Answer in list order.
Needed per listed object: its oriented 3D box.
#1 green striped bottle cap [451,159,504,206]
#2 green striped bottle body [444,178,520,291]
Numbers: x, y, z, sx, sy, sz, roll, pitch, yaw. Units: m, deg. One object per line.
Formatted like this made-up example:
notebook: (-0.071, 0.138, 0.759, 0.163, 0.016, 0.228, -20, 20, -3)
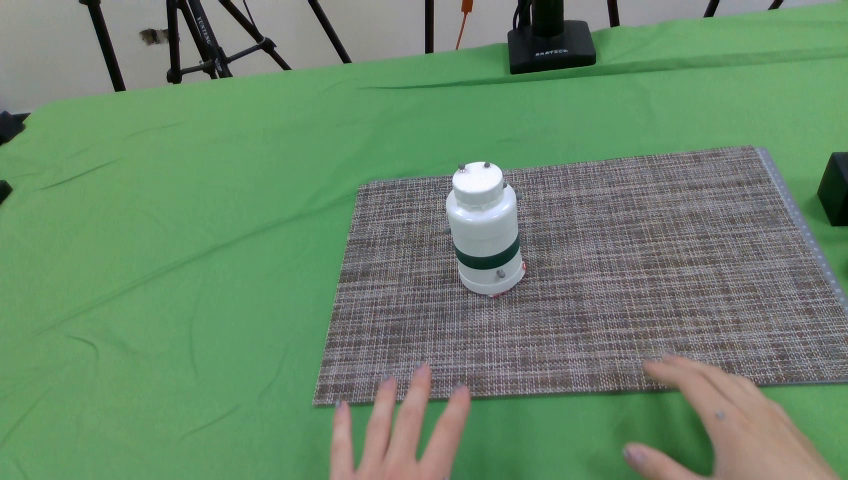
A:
green striped bottle cap: (0.045, -0.050, 0.518, 0.044, 0.020, 0.044, -8, 44, 8)
green striped bottle body: (0.054, -0.013, 0.555, 0.063, 0.120, 0.062, -7, 44, 7)
